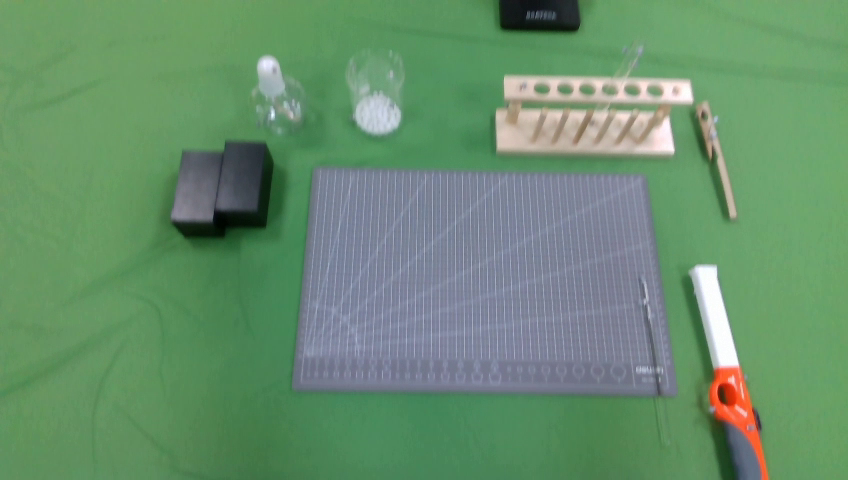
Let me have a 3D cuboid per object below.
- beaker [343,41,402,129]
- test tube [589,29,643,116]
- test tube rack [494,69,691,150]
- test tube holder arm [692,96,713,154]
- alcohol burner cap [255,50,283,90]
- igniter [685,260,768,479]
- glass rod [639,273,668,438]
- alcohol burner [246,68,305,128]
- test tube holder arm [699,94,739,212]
[{"bbox_3d":[-0.064,-0.202,0.802,0.073,0.101,0.084,38,71,12],"label":"beaker"},{"bbox_3d":[0.240,-0.208,0.770,0.017,0.151,0.017,3,64,-5],"label":"test tube"},{"bbox_3d":[0.220,-0.172,0.809,0.242,0.086,0.066,1,68,-2],"label":"test tube rack"},{"bbox_3d":[0.392,-0.161,0.848,0.010,0.015,0.087,-19,66,29],"label":"test tube holder arm"},{"bbox_3d":[-0.195,-0.216,0.756,0.034,0.048,0.033,3,62,-6],"label":"alcohol burner cap"},{"bbox_3d":[0.355,0.155,0.714,0.057,0.025,0.274,1,68,-12],"label":"igniter"},{"bbox_3d":[0.274,0.134,0.726,0.008,0.008,0.198,0,68,-2],"label":"glass rod"},{"bbox_3d":[-0.196,-0.200,0.788,0.078,0.120,0.077,0,66,0],"label":"alcohol burner"},{"bbox_3d":[0.402,-0.121,0.829,0.013,0.015,0.177,-19,66,29],"label":"test tube holder arm"}]
